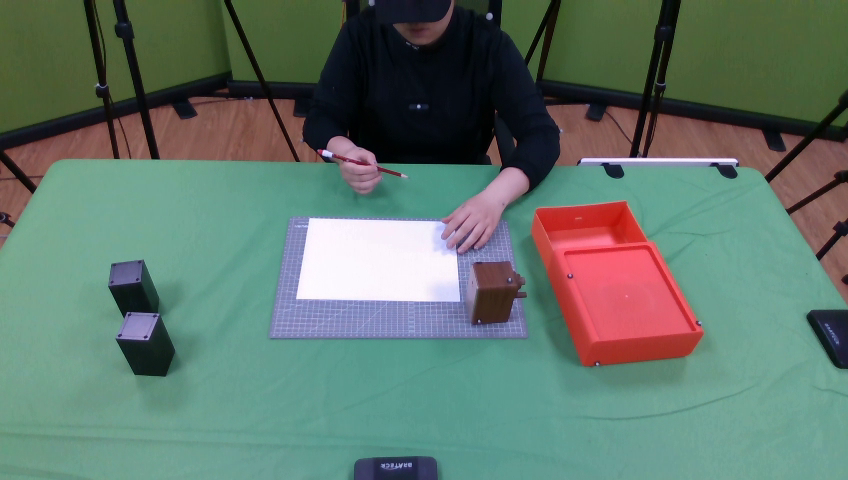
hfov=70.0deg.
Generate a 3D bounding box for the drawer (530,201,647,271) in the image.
[{"bbox_3d":[0.328,0.025,1.159,0.195,0.073,0.210,-5,46,-9],"label":"drawer"}]

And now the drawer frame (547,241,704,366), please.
[{"bbox_3d":[0.348,0.106,1.077,0.202,0.083,0.212,-4,47,-9],"label":"drawer frame"}]

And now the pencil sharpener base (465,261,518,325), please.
[{"bbox_3d":[0.117,0.093,1.052,0.077,0.107,0.061,-3,46,-7],"label":"pencil sharpener base"}]

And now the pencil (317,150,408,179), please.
[{"bbox_3d":[-0.125,-0.152,1.229,0.194,0.012,0.012,17,46,2],"label":"pencil"}]

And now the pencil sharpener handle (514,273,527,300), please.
[{"bbox_3d":[0.168,0.081,1.051,0.031,0.068,0.035,-3,49,-7],"label":"pencil sharpener handle"}]
